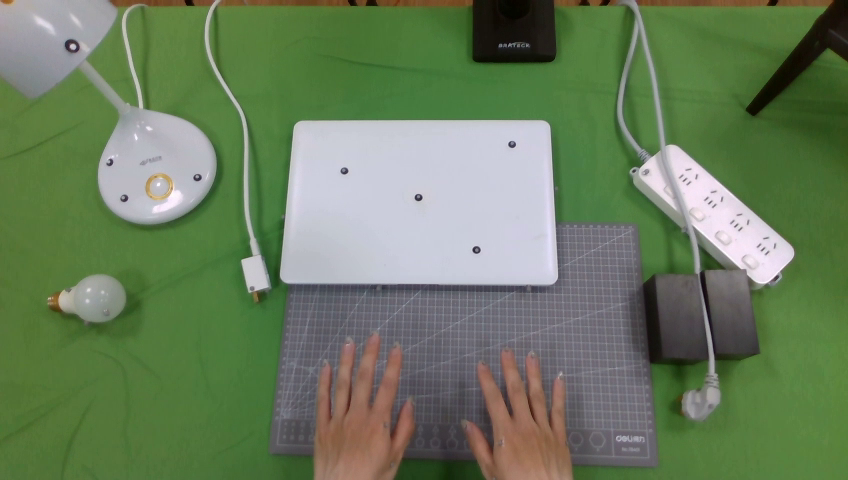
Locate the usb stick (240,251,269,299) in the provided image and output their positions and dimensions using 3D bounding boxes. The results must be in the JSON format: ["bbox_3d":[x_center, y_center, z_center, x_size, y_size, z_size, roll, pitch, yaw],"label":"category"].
[{"bbox_3d":[-0.214,0.045,0.770,0.027,0.021,0.059,-12,81,-4],"label":"usb stick"}]

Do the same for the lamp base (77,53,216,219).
[{"bbox_3d":[-0.374,-0.139,0.756,0.160,0.181,0.178,-29,70,-8],"label":"lamp base"}]

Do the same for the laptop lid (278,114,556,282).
[{"bbox_3d":[-0.008,-0.059,0.791,0.356,0.013,0.240,2,72,3],"label":"laptop lid"}]

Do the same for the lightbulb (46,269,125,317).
[{"bbox_3d":[-0.426,0.068,0.757,0.107,0.060,0.059,-5,70,16],"label":"lightbulb"}]

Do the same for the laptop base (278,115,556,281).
[{"bbox_3d":[-0.008,-0.058,0.803,0.354,0.023,0.234,0,74,2],"label":"laptop base"}]

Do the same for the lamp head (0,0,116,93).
[{"bbox_3d":[-0.337,-0.200,0.489,0.112,0.124,0.111,-24,43,24],"label":"lamp head"}]

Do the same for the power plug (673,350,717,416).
[{"bbox_3d":[0.315,0.169,0.701,0.035,0.052,0.072,33,66,-14],"label":"power plug"}]

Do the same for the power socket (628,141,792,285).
[{"bbox_3d":[0.364,-0.037,0.775,0.072,0.033,0.225,-39,74,-11],"label":"power socket"}]
